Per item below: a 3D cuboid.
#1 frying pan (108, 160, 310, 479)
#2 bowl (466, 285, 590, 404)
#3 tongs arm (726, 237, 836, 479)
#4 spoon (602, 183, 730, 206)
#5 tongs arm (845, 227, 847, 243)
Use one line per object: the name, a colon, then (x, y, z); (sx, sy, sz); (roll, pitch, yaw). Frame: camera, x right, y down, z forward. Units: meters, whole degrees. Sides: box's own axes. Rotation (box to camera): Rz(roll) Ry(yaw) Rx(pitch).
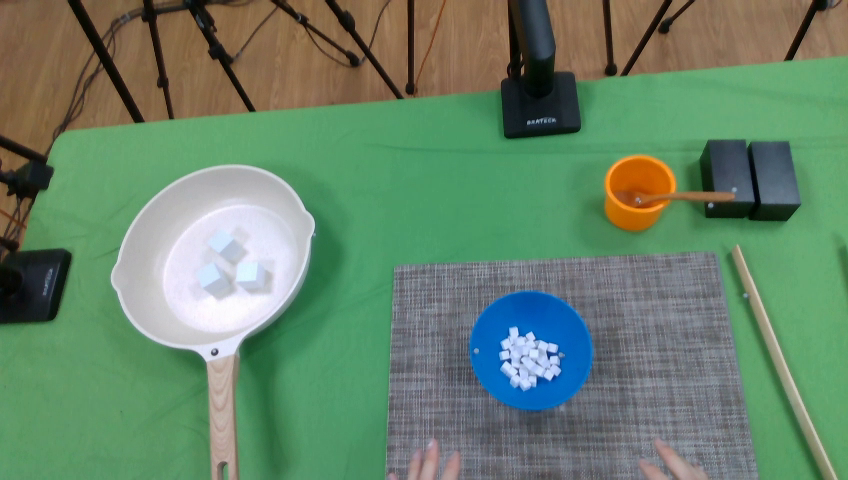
frying pan: (-0.287, 0.104, 0.844); (0.307, 0.104, 0.482); (-15, 56, 3)
bowl: (0.131, 0.140, 0.774); (0.151, 0.077, 0.150); (-3, 66, 7)
tongs arm: (0.453, 0.169, 0.744); (0.028, 0.028, 0.384); (-12, 65, 1)
spoon: (0.313, -0.064, 0.803); (0.022, 0.192, 0.041); (45, 72, -20)
tongs arm: (0.533, 0.160, 0.731); (0.050, 0.027, 0.382); (-1, 67, 9)
